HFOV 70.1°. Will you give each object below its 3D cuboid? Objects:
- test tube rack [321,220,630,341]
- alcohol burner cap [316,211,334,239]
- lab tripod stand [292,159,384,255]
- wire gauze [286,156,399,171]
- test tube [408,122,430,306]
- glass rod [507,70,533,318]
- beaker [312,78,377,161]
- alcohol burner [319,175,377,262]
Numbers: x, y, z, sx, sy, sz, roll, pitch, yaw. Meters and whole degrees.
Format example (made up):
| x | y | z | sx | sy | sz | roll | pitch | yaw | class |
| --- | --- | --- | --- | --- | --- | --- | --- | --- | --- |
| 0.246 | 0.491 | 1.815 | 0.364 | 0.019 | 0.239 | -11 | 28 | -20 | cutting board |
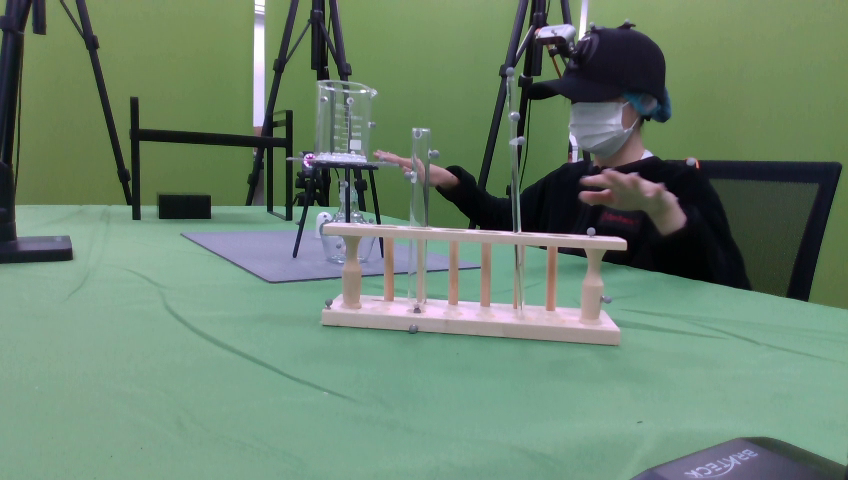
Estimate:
| x | y | z | sx | sy | sz | roll | pitch | yaw | class |
| --- | --- | --- | --- | --- | --- | --- | --- | --- | --- |
| 0.041 | 0.029 | 0.512 | 0.242 | 0.085 | 0.067 | 3 | 7 | 5 | test tube rack |
| -0.171 | -0.027 | 1.048 | 0.034 | 0.048 | 0.034 | 2 | 8 | 0 | alcohol burner cap |
| -0.105 | -0.039 | 0.797 | 0.148 | 0.131 | 0.148 | 2 | 5 | 0 | lab tripod stand |
| -0.101 | -0.103 | 0.788 | 0.121 | 0.011 | 0.125 | 5 | 4 | 6 | wire gauze |
| -0.004 | -0.019 | 0.489 | 0.017 | 0.150 | 0.017 | 1 | 11 | 0 | test tube |
| 0.076 | -0.031 | 0.476 | 0.008 | 0.199 | 0.008 | -6 | 12 | 2 | glass rod |
| -0.103 | -0.151 | 0.776 | 0.084 | 0.100 | 0.074 | 5 | 7 | 14 | beaker |
| -0.101 | -0.030 | 0.807 | 0.078 | 0.119 | 0.078 | 0 | 7 | 0 | alcohol burner |
